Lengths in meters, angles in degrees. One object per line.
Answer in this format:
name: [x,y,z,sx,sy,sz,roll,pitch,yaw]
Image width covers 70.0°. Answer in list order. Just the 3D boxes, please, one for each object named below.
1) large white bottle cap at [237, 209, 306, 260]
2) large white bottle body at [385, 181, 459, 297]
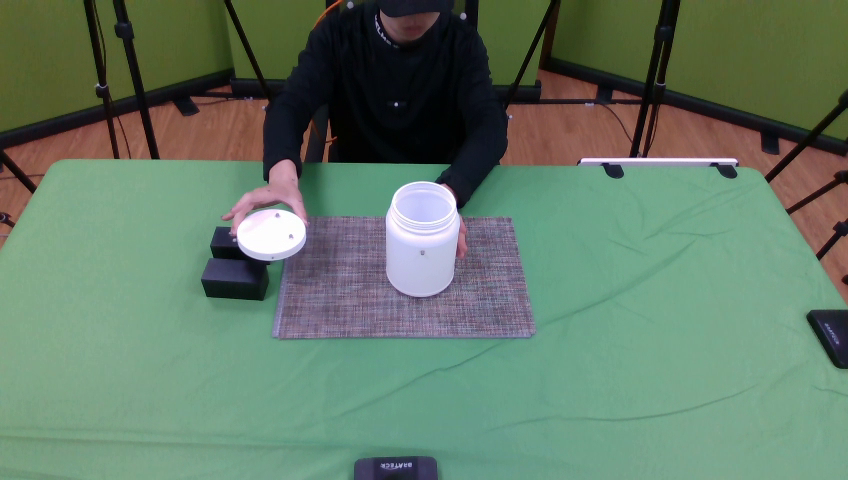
large white bottle cap: [-0.263,-0.011,1.049,0.115,0.018,0.114,4,43,-3]
large white bottle body: [-0.005,-0.002,1.082,0.131,0.185,0.130,2,46,-1]
